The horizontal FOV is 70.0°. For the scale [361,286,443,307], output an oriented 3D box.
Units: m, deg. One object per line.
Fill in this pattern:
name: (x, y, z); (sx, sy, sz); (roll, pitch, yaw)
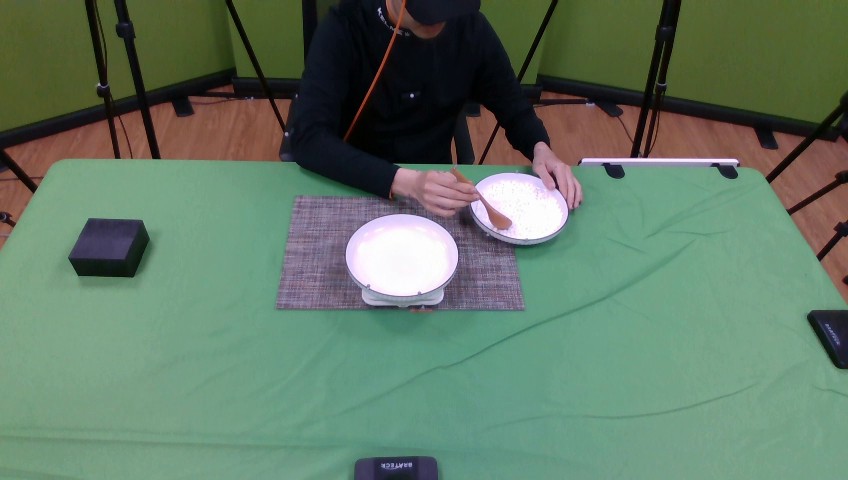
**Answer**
scale: (-0.042, 0.040, 1.143); (0.149, 0.032, 0.199); (0, 46, -4)

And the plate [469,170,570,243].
plate: (0.195, -0.066, 1.258); (0.209, 0.038, 0.208); (3, 46, -2)

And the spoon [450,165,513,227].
spoon: (0.109, -0.082, 1.176); (0.041, 0.195, 0.021); (-19, 39, 39)

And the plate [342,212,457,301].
plate: (-0.044, 0.033, 1.105); (0.208, 0.039, 0.206); (2, 46, -2)
